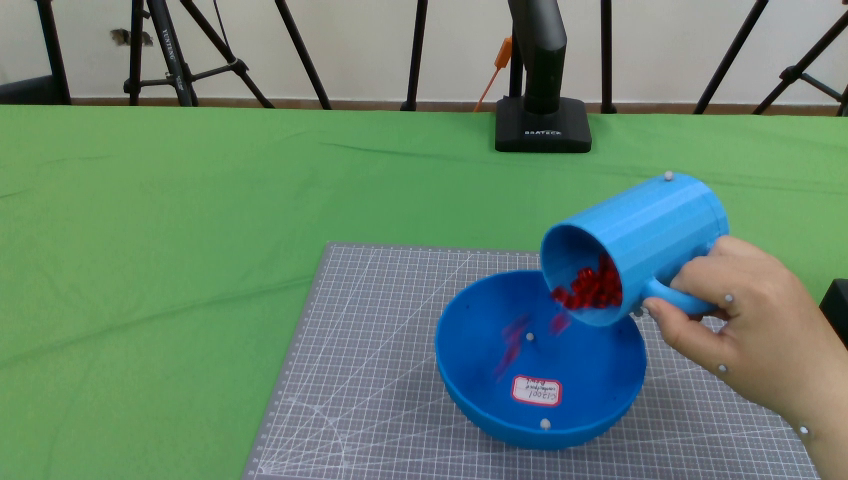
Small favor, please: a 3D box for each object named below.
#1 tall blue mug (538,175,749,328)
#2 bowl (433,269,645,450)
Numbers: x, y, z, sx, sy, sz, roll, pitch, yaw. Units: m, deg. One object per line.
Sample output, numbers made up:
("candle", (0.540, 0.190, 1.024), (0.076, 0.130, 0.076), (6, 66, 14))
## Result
("tall blue mug", (0.153, 0.005, 0.413), (0.108, 0.078, 0.106), (-23, 8, -27))
("bowl", (0.082, 0.101, 0.458), (0.151, 0.077, 0.150), (-1, 41, 1))
